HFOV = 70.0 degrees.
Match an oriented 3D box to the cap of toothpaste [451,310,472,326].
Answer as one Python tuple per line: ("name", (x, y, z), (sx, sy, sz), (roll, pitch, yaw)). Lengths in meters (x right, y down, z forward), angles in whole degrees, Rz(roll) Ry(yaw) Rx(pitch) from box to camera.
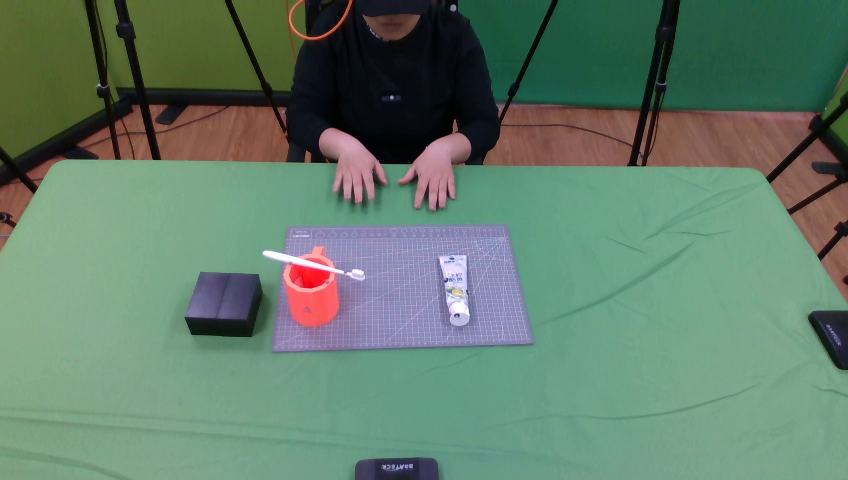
("cap of toothpaste", (0.065, 0.134, 1.054), (0.037, 0.037, 0.011), (1, 39, -2))

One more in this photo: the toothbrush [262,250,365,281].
("toothbrush", (-0.186, 0.040, 1.015), (0.182, 0.017, 0.014), (13, 54, 8))

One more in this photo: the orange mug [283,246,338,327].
("orange mug", (-0.193, 0.073, 1.056), (0.083, 0.101, 0.125), (5, 50, 1))

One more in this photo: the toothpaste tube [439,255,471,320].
("toothpaste tube", (0.062, 0.084, 1.113), (0.055, 0.035, 0.164), (2, 41, -7))
